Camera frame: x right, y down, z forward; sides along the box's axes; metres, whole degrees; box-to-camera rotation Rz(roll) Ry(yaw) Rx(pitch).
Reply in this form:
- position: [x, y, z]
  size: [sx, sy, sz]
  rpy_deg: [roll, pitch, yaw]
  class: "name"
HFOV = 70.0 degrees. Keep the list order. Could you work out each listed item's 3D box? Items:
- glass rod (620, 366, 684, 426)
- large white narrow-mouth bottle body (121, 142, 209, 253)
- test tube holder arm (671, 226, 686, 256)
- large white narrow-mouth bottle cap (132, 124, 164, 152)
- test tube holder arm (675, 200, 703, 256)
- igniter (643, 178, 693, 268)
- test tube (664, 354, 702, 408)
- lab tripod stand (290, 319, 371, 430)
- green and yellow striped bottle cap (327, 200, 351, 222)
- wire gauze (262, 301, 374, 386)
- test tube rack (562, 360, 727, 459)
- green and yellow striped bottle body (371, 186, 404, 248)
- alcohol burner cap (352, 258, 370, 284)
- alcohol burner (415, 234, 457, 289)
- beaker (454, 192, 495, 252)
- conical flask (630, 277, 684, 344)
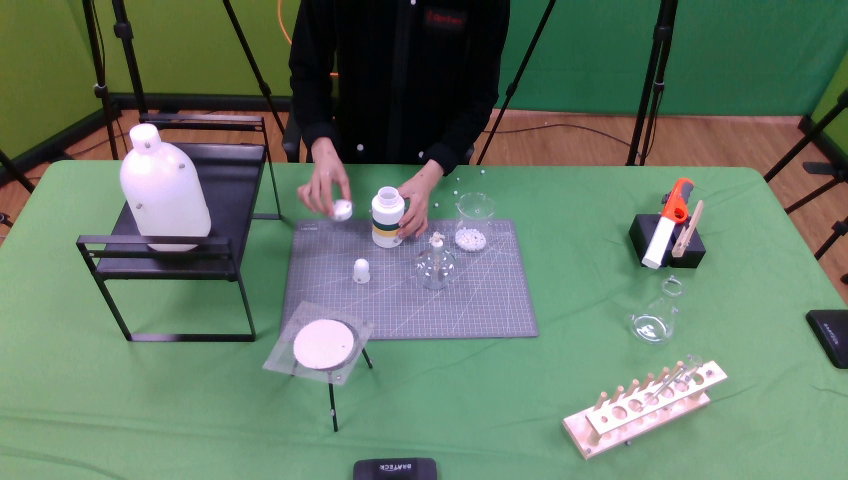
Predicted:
- position: [0.322, 0.227, 0.866]
  size: [0.008, 0.200, 0.008]
  rpy_deg: [5, 51, -7]
  class: "glass rod"
- position: [-0.378, -0.077, 0.875]
  size: [0.102, 0.195, 0.101]
  rpy_deg: [3, 46, -3]
  class: "large white narrow-mouth bottle body"
- position: [0.494, 0.001, 1.167]
  size: [0.010, 0.015, 0.087]
  rpy_deg: [1, 36, 42]
  class: "test tube holder arm"
- position: [-0.371, -0.137, 0.813]
  size: [0.038, 0.024, 0.037]
  rpy_deg: [3, 46, -3]
  class: "large white narrow-mouth bottle cap"
- position: [0.523, -0.025, 1.190]
  size: [0.013, 0.015, 0.178]
  rpy_deg: [1, 36, 41]
  class: "test tube holder arm"
- position: [0.488, -0.042, 1.205]
  size: [0.057, 0.025, 0.276]
  rpy_deg: [30, 51, 11]
  class: "igniter"
- position: [0.385, 0.215, 0.906]
  size: [0.017, 0.151, 0.017]
  rpy_deg: [-1, 49, 1]
  class: "test tube"
- position: [-0.146, 0.193, 0.923]
  size: [0.148, 0.132, 0.147]
  rpy_deg: [1, 47, -1]
  class: "lab tripod stand"
- position: [-0.163, -0.056, 1.157]
  size: [0.045, 0.020, 0.045]
  rpy_deg: [1, 42, -1]
  class: "green and yellow striped bottle cap"
- position: [-0.150, 0.148, 0.873]
  size: [0.121, 0.011, 0.124]
  rpy_deg: [14, 46, 12]
  class: "wire gauze"
- position: [0.341, 0.247, 0.940]
  size: [0.243, 0.085, 0.066]
  rpy_deg: [-16, 49, -18]
  class: "test tube rack"
- position: [-0.071, -0.047, 1.165]
  size: [0.063, 0.120, 0.063]
  rpy_deg: [2, 46, -2]
  class: "green and yellow striped bottle body"
- position: [-0.117, 0.055, 1.118]
  size: [0.034, 0.048, 0.033]
  rpy_deg: [1, 46, -1]
  class: "alcohol burner cap"
- position: [0.022, 0.033, 1.099]
  size: [0.078, 0.120, 0.077]
  rpy_deg: [1, 47, -1]
  class: "alcohol burner"
- position: [0.097, -0.034, 1.180]
  size: [0.074, 0.101, 0.084]
  rpy_deg: [23, 48, 17]
  class: "beaker"
- position: [0.408, 0.117, 1.045]
  size: [0.075, 0.122, 0.075]
  rpy_deg: [2, 46, -2]
  class: "conical flask"
